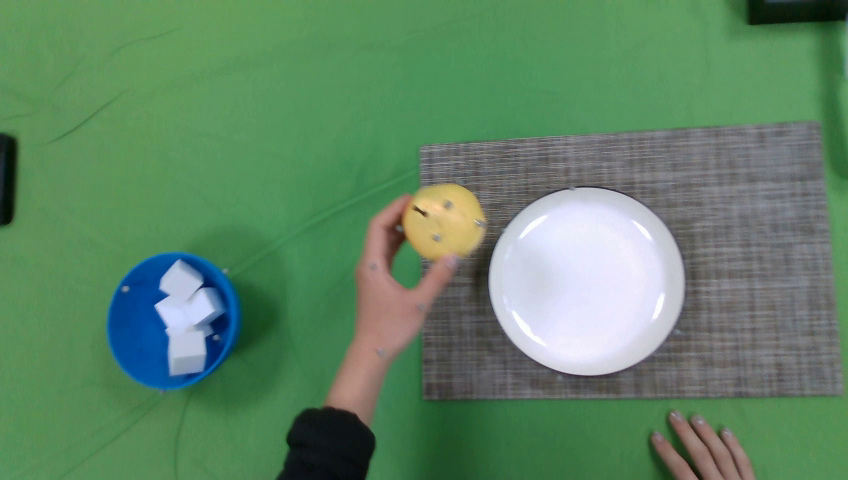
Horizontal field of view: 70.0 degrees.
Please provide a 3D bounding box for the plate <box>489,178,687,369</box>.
[{"bbox_3d":[0.177,0.036,0.669,0.207,0.039,0.207,-1,84,8],"label":"plate"}]

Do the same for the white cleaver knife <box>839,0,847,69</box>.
[{"bbox_3d":[0.464,-0.217,0.646,0.021,0.066,0.286,-1,93,11],"label":"white cleaver knife"}]

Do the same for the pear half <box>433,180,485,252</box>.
[{"bbox_3d":[0.039,-0.027,0.575,0.031,0.088,0.070,-16,74,20],"label":"pear half"}]

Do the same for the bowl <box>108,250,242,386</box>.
[{"bbox_3d":[-0.273,0.089,0.703,0.151,0.077,0.151,-1,83,7],"label":"bowl"}]

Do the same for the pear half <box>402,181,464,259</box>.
[{"bbox_3d":[0.003,-0.020,0.578,0.056,0.111,0.076,-16,71,19],"label":"pear half"}]
